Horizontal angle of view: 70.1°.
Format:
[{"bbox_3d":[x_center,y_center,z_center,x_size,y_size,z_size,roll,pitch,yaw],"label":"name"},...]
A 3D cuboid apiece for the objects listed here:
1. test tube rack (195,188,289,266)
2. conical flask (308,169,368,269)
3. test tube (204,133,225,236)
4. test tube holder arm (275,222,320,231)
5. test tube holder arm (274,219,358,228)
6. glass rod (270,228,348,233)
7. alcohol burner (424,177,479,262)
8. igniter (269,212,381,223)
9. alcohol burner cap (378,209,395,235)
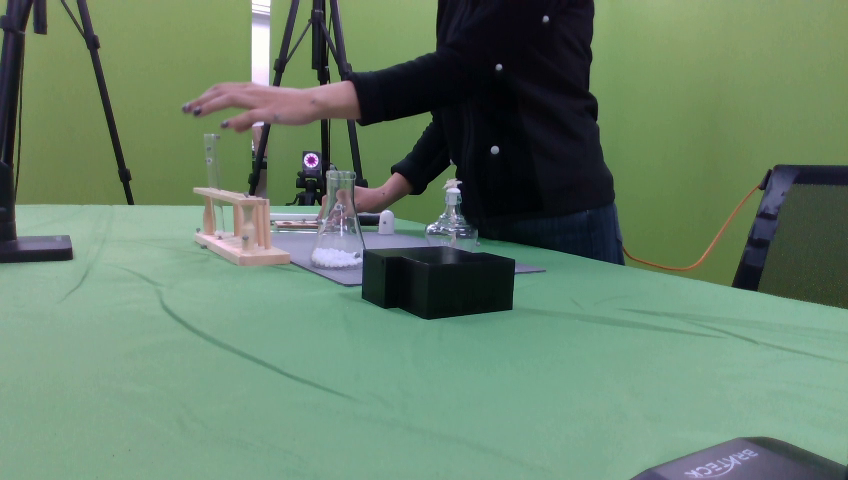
[{"bbox_3d":[-0.266,-0.025,0.863,0.067,0.085,0.241,-2,8,-33],"label":"test tube rack"},{"bbox_3d":[-0.107,-0.028,0.762,0.075,0.122,0.075,2,7,0],"label":"conical flask"},{"bbox_3d":[-0.306,-0.079,0.883,0.017,0.150,0.017,-2,10,1],"label":"test tube"},{"bbox_3d":[-0.239,-0.025,1.145,0.088,0.015,0.010,-3,45,-39],"label":"test tube holder arm"},{"bbox_3d":[-0.206,-0.031,1.177,0.179,0.015,0.013,-4,46,-40],"label":"test tube holder arm"},{"bbox_3d":[-0.235,-0.018,1.104,0.201,0.008,0.008,1,7,-26],"label":"glass rod"},{"bbox_3d":[0.040,-0.028,0.853,0.078,0.119,0.078,2,9,0],"label":"alcohol burner"},{"bbox_3d":[-0.213,-0.048,1.278,0.278,0.025,0.057,-1,-2,-24],"label":"igniter"},{"bbox_3d":[-0.071,-0.034,1.144,0.034,0.048,0.034,3,8,0],"label":"alcohol burner cap"}]
